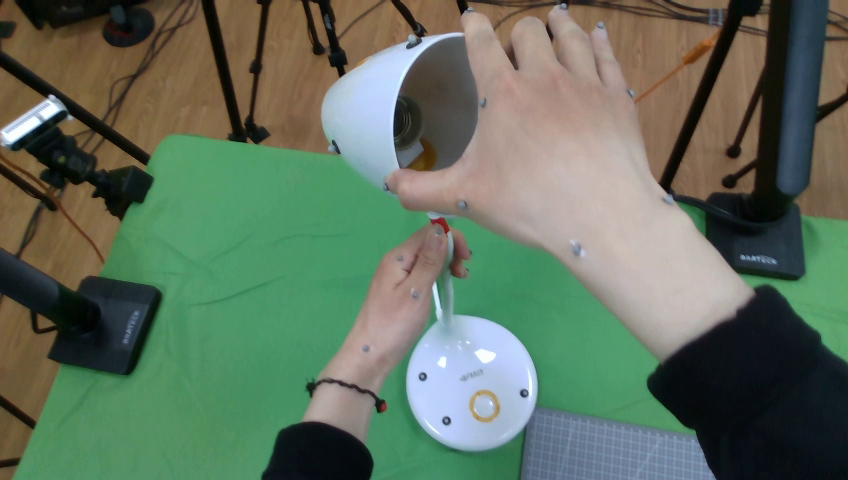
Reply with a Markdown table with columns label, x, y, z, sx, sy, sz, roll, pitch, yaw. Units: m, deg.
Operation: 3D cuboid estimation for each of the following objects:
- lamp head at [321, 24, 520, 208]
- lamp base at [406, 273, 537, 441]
| label | x | y | z | sx | sy | sz | roll | pitch | yaw |
| --- | --- | --- | --- | --- | --- | --- | --- | --- | --- |
| lamp head | -0.011 | -0.082 | 0.413 | 0.122 | 0.113 | 0.112 | 14 | 60 | 52 |
| lamp base | 0.046 | 0.121 | 0.677 | 0.160 | 0.182 | 0.177 | -29 | 64 | -10 |
